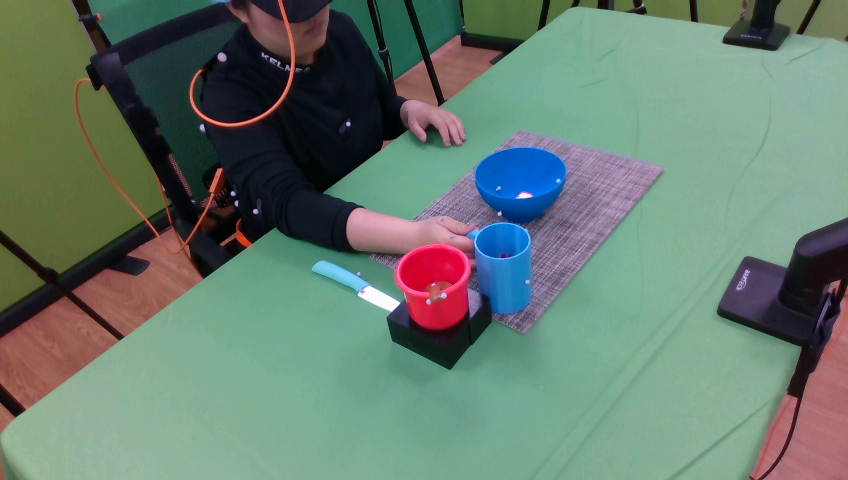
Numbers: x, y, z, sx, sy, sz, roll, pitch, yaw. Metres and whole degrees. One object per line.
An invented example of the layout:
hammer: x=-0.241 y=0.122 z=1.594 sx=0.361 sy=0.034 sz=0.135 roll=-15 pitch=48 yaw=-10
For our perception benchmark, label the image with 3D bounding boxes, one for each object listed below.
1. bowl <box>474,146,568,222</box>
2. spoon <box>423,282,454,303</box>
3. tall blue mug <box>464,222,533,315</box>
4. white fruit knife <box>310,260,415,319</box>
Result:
bowl: x=0.161 y=-0.083 z=1.001 sx=0.151 sy=0.077 sz=0.150 roll=-5 pitch=40 yaw=5
spoon: x=0.015 y=0.062 z=0.733 sx=0.041 sy=0.021 sz=0.194 roll=-5 pitch=-4 yaw=3
tall blue mug: x=0.098 y=0.037 z=0.844 sx=0.106 sy=0.108 sz=0.078 roll=9 pitch=45 yaw=20
white fruit knife: x=-0.094 y=0.074 z=0.920 sx=0.206 sy=0.016 sz=0.027 roll=24 pitch=77 yaw=30
